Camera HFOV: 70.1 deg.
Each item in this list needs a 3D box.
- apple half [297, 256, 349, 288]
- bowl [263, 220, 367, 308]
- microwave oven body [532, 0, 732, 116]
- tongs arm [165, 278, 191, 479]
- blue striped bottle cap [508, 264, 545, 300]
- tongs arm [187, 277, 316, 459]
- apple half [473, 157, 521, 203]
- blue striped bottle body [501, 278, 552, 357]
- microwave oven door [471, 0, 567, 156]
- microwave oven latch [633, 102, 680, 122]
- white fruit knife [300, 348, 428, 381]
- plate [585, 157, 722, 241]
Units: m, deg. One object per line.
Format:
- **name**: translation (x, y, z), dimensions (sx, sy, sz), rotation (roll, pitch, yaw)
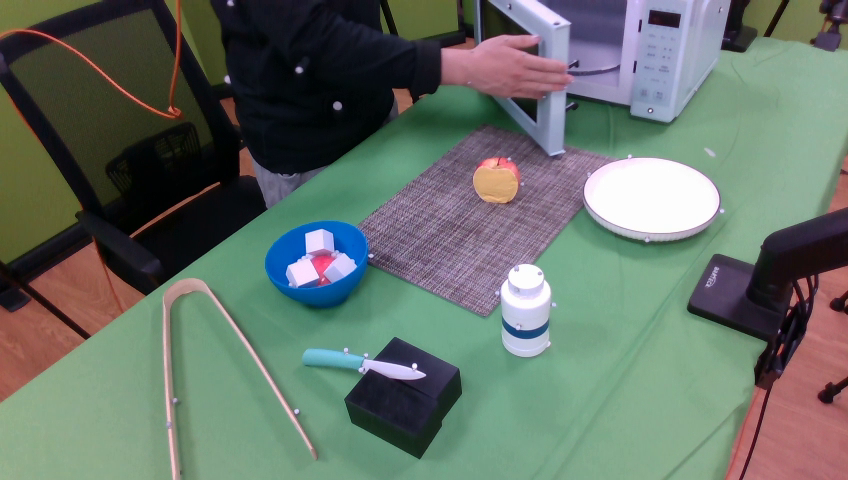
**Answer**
- **apple half**: translation (-0.154, 0.044, 0.889), dimensions (0.081, 0.033, 0.081), rotation (-2, 40, 3)
- **bowl**: translation (-0.153, 0.047, 0.892), dimensions (0.151, 0.077, 0.150), rotation (-4, 40, 4)
- **microwave oven body**: translation (0.377, -0.462, 1.267), dimensions (0.438, 0.261, 0.327), rotation (21, 48, 30)
- **tongs arm**: translation (-0.313, 0.182, 0.789), dimensions (0.051, 0.026, 0.381), rotation (-19, 41, -14)
- **blue striped bottle cap**: translation (0.125, 0.051, 0.735), dimensions (0.044, 0.021, 0.044), rotation (-6, 39, 5)
- **tongs arm**: translation (-0.240, 0.154, 0.815), dimensions (0.028, 0.028, 0.384), rotation (-31, 46, -21)
- **apple half**: translation (0.128, -0.106, 1.030), dimensions (0.080, 0.075, 0.053), rotation (4, 38, 19)
- **blue striped bottle body**: translation (0.130, 0.088, 0.769), dimensions (0.063, 0.121, 0.063), rotation (-4, 41, 4)
- **microwave oven door**: translation (0.175, -0.350, 1.158), dimensions (0.039, 0.245, 0.353), rotation (-17, 41, -11)
- **microwave oven latch**: translation (0.444, -0.250, 1.157), dimensions (0.078, 0.029, 0.030), rotation (21, 49, 30)
- **white fruit knife**: translation (-0.079, 0.154, 0.748), dimensions (0.206, 0.027, 0.016), rotation (1, 20, 34)
- **plate**: translation (0.367, -0.063, 0.979), dimensions (0.207, 0.039, 0.206), rotation (-4, 40, 4)
